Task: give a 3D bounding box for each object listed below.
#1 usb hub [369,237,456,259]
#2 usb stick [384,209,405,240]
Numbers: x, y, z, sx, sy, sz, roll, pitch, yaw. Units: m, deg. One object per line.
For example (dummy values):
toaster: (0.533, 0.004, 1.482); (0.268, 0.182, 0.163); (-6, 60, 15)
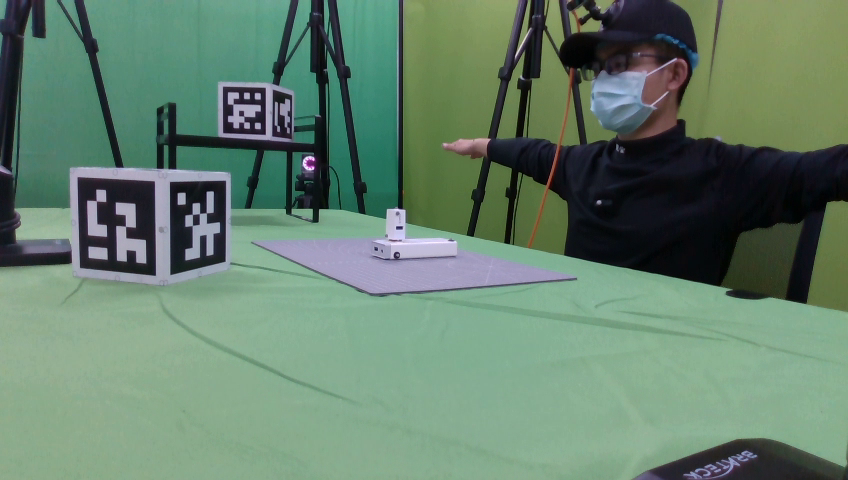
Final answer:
usb hub: (-0.016, 0.012, 0.909); (0.126, 0.025, 0.049); (-2, 9, -32)
usb stick: (-0.044, -0.016, 0.892); (0.021, 0.059, 0.027); (-1, 9, -35)
